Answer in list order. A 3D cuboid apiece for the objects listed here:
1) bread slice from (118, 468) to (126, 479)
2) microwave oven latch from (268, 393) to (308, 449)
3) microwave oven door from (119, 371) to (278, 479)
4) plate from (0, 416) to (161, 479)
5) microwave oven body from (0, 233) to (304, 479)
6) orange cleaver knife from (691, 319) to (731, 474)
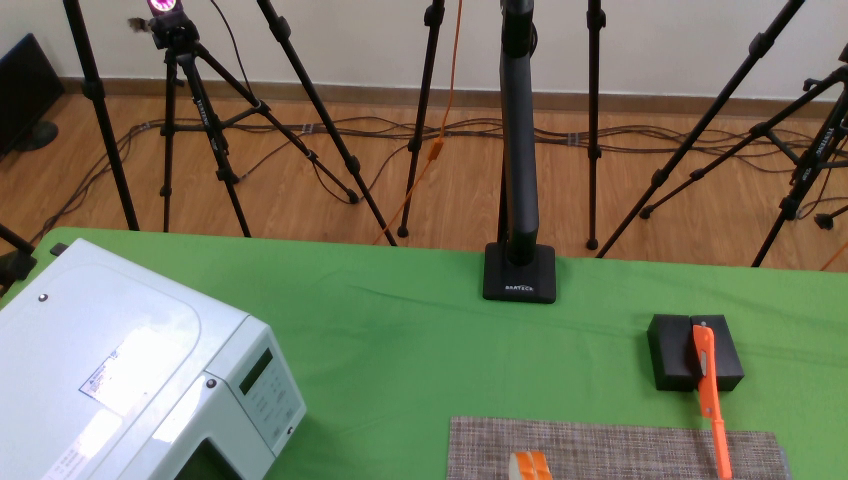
[{"bbox_3d":[-0.424,0.346,0.725,0.135,0.018,0.106,-13,51,-21],"label":"bread slice"},{"bbox_3d":[-0.192,0.246,0.840,0.030,0.030,0.079,22,57,18],"label":"microwave oven latch"},{"bbox_3d":[-0.297,0.338,0.643,0.039,0.246,0.354,20,55,18],"label":"microwave oven door"},{"bbox_3d":[-0.426,0.321,0.737,0.208,0.039,0.205,1,50,-1],"label":"plate"},{"bbox_3d":[-0.409,0.264,0.713,0.324,0.262,0.439,21,56,17],"label":"microwave oven body"},{"bbox_3d":[0.392,0.210,0.835,0.012,0.077,0.210,-2,72,4],"label":"orange cleaver knife"}]
